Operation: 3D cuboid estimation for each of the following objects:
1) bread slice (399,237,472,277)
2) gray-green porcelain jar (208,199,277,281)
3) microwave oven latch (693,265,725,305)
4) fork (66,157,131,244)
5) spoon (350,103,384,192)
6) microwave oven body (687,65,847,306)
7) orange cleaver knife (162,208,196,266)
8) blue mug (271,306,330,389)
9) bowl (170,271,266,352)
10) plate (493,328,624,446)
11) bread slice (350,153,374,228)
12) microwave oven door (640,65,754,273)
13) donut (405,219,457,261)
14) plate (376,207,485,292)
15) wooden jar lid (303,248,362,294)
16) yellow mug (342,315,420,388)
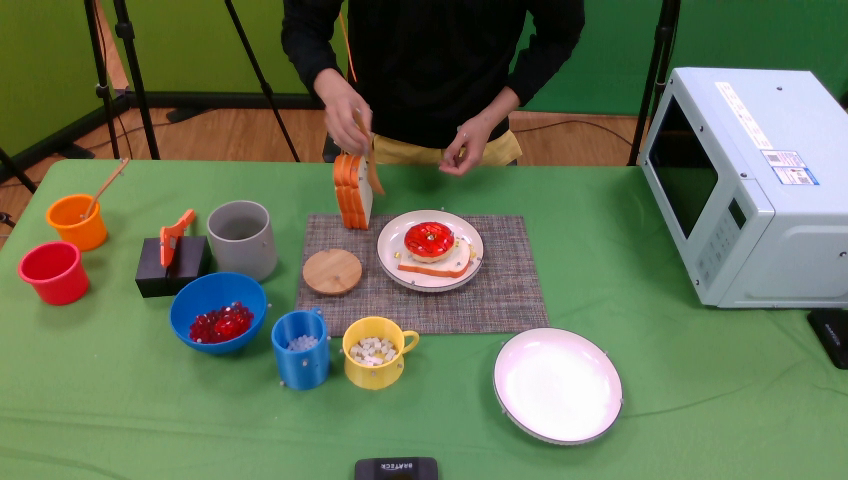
[{"bbox_3d":[0.026,0.024,1.161,0.131,0.019,0.104,7,48,8],"label":"bread slice"},{"bbox_3d":[-0.323,0.007,1.092,0.106,0.127,0.105,2,46,-2],"label":"gray-green porcelain jar"},{"bbox_3d":[0.522,0.081,1.115,0.030,0.029,0.078,2,46,-1],"label":"microwave oven latch"},{"bbox_3d":[-0.608,-0.074,1.132,0.207,0.019,0.028,-52,48,10],"label":"fork"},{"bbox_3d":[-0.094,-0.148,0.992,0.021,0.195,0.041,-35,53,-20],"label":"spoon"},{"bbox_3d":[0.669,-0.111,1.176,0.326,0.261,0.439,0,46,-3],"label":"microwave oven body"},{"bbox_3d":[-0.454,-0.010,1.129,0.012,0.077,0.210,-2,17,-6],"label":"orange cleaver knife"},{"bbox_3d":[-0.188,0.163,0.969,0.082,0.106,0.116,15,47,10],"label":"blue mug"},{"bbox_3d":[-0.333,0.132,1.006,0.151,0.077,0.150,2,46,-2],"label":"bowl"},{"bbox_3d":[0.213,0.236,0.974,0.208,0.039,0.206,2,46,-2],"label":"plate"},{"bbox_3d":[-0.124,-0.104,1.207,0.018,0.135,0.106,-2,47,7],"label":"bread slice"},{"bbox_3d":[0.523,-0.147,1.193,0.039,0.245,0.353,0,47,-3],"label":"microwave oven door"},{"bbox_3d":[0.013,-0.001,1.141,0.099,0.048,0.098,0,44,0],"label":"donut"},{"bbox_3d":[0.012,0.021,1.158,0.209,0.038,0.208,2,47,-2],"label":"plate"},{"bbox_3d":[-0.169,0.060,1.122,0.108,0.021,0.107,2,45,-2],"label":"wooden jar lid"},{"bbox_3d":[-0.068,0.177,0.990,0.131,0.064,0.099,-15,50,-19],"label":"yellow mug"}]
